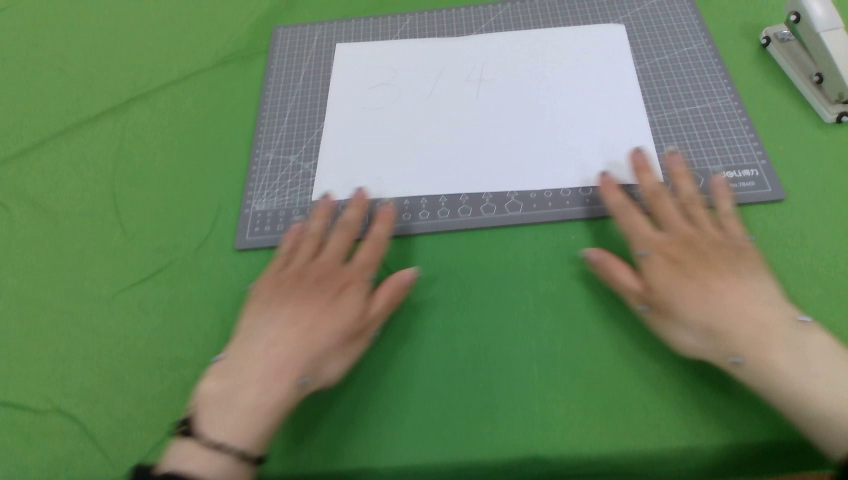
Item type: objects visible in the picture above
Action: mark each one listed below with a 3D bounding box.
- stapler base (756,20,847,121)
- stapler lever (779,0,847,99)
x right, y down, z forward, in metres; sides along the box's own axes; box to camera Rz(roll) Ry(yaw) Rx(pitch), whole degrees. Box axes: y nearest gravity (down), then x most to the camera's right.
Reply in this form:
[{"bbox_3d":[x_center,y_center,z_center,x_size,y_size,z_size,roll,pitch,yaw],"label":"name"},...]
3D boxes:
[{"bbox_3d":[0.351,-0.163,0.549,0.041,0.024,0.129,-14,57,1],"label":"stapler base"},{"bbox_3d":[0.348,-0.176,0.527,0.027,0.040,0.117,-14,57,1],"label":"stapler lever"}]
